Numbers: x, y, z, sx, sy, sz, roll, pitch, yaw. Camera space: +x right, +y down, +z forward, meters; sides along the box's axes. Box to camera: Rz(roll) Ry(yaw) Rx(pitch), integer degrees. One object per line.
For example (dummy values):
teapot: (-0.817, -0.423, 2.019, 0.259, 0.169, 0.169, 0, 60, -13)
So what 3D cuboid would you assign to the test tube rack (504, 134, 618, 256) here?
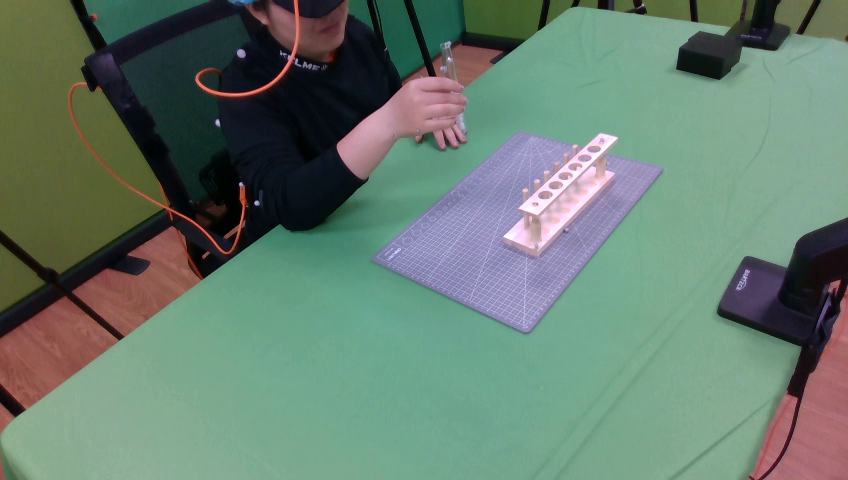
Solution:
test tube rack: (0.225, -0.083, 0.985, 0.066, 0.085, 0.243, 25, 50, 34)

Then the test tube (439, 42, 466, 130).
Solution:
test tube: (0.045, -0.233, 0.931, 0.017, 0.151, 0.017, -9, 44, 9)
